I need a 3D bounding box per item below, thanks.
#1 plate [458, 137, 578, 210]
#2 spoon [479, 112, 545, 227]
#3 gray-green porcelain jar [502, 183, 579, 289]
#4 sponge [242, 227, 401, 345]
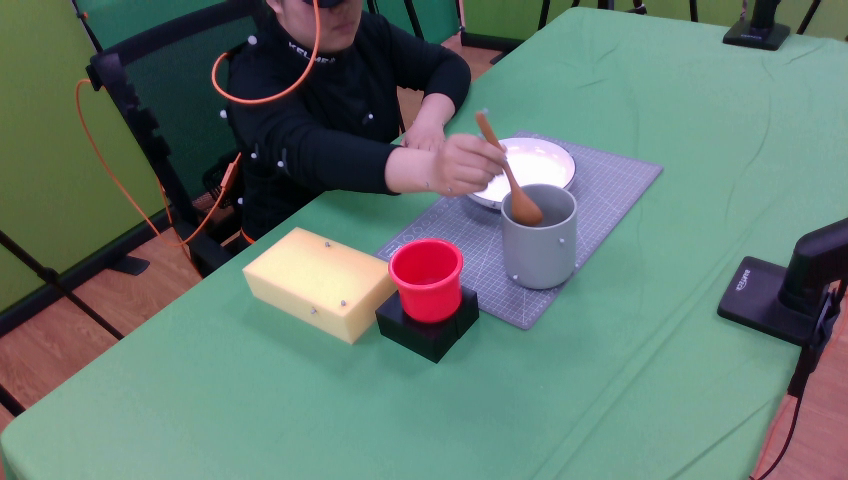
[{"bbox_3d":[0.166,-0.113,1.068,0.207,0.039,0.206,-5,40,5],"label":"plate"},{"bbox_3d":[0.110,-0.084,0.775,0.041,0.195,0.021,-8,38,31],"label":"spoon"},{"bbox_3d":[0.167,-0.001,0.866,0.106,0.127,0.105,-5,40,5],"label":"gray-green porcelain jar"},{"bbox_3d":[-0.154,0.063,0.907,0.205,0.061,0.118,19,48,29],"label":"sponge"}]
